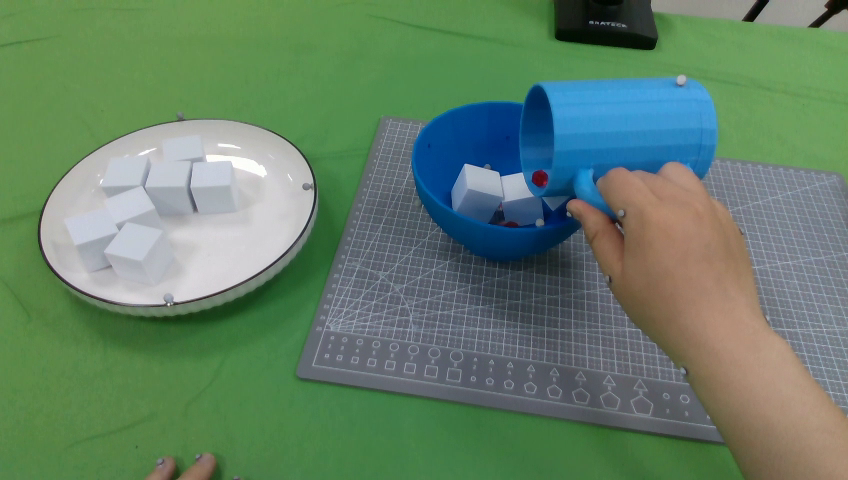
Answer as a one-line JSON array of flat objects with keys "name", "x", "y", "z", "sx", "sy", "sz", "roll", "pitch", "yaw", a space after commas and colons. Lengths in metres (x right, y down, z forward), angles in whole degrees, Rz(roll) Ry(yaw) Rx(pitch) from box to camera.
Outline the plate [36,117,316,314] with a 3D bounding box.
[{"name": "plate", "x": -0.191, "y": -0.022, "z": 0.488, "sx": 0.209, "sy": 0.038, "sz": 0.207, "roll": 2, "pitch": 49, "yaw": -2}]

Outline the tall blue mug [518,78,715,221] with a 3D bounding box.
[{"name": "tall blue mug", "x": 0.129, "y": -0.064, "z": 0.400, "sx": 0.108, "sy": 0.078, "sz": 0.106, "roll": -3, "pitch": 22, "yaw": -8}]

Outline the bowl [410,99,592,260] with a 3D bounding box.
[{"name": "bowl", "x": 0.063, "y": -0.037, "z": 0.486, "sx": 0.151, "sy": 0.077, "sz": 0.150, "roll": 2, "pitch": 48, "yaw": -2}]
